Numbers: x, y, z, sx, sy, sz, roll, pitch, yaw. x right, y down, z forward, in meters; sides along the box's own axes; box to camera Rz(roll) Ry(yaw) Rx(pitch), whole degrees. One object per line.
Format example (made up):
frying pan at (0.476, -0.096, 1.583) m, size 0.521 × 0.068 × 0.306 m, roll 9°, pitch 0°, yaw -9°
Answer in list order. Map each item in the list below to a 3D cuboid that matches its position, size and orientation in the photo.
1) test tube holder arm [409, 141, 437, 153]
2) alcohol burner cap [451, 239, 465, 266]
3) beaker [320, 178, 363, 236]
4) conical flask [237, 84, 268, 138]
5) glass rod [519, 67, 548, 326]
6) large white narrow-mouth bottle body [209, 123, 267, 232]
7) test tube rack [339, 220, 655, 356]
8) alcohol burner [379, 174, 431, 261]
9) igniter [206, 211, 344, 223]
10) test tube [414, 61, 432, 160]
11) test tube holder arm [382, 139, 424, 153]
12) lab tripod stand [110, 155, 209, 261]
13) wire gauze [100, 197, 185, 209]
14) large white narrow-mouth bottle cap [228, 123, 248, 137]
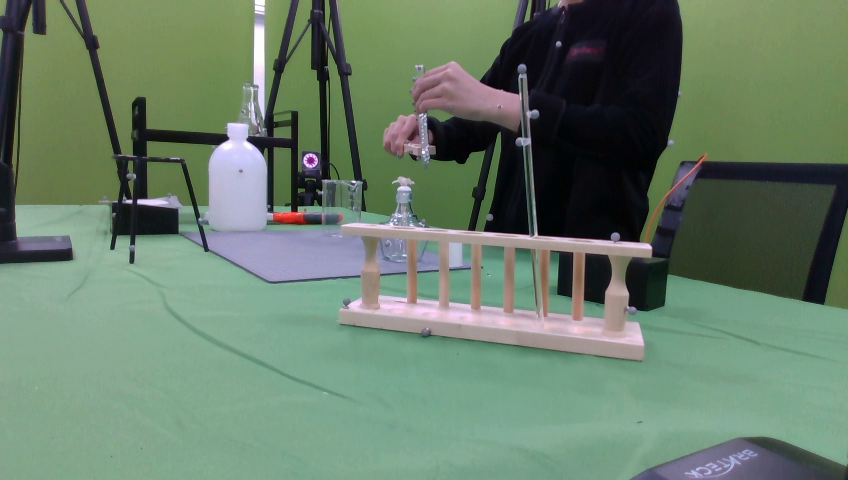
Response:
test tube holder arm at (-0.011, -0.151, 0.977) m, size 0.010 × 0.015 × 0.087 m, roll -6°, pitch 14°, yaw -40°
alcohol burner cap at (0.040, 0.010, 0.815) m, size 0.034 × 0.048 × 0.034 m, roll 4°, pitch 8°, yaw 0°
beaker at (-0.145, -0.059, 1.079) m, size 0.074 × 0.100 × 0.083 m, roll -4°, pitch 10°, yaw -36°
conical flask at (-0.402, -0.299, 1.406) m, size 0.075 × 0.122 × 0.075 m, roll 2°, pitch 7°, yaw 0°
glass rod at (0.084, -0.029, 0.459) m, size 0.008 × 0.199 × 0.008 m, roll -6°, pitch 11°, yaw 2°
large white narrow-mouth bottle body at (-0.340, -0.115, 1.109) m, size 0.102 × 0.194 × 0.102 m, roll 2°, pitch 8°, yaw 0°
test tube rack at (0.056, 0.032, 0.495) m, size 0.242 × 0.085 × 0.067 m, roll 4°, pitch 7°, yaw 15°
alcohol burner at (-0.027, -0.031, 0.838) m, size 0.078 × 0.119 × 0.078 m, roll 0°, pitch 6°, yaw 0°
igniter at (-0.302, -0.048, 1.249) m, size 0.278 × 0.025 × 0.057 m, roll -2°, pitch -2°, yaw -26°
test tube at (-0.001, -0.197, 0.930) m, size 0.017 × 0.150 × 0.017 m, roll -5°, pitch 14°, yaw 1°
test tube holder arm at (-0.038, -0.159, 1.012) m, size 0.013 × 0.015 × 0.177 m, roll 0°, pitch 11°, yaw -25°
lab tripod stand at (-0.361, -0.046, 0.806) m, size 0.148 × 0.131 × 0.148 m, roll 2°, pitch 5°, yaw 0°
wire gauze at (-0.469, -0.062, 1.008) m, size 0.126 × 0.011 × 0.121 m, roll -2°, pitch 8°, yaw -25°
large white narrow-mouth bottle cap at (-0.338, -0.199, 1.097) m, size 0.038 × 0.024 × 0.037 m, roll 2°, pitch 8°, yaw 0°
